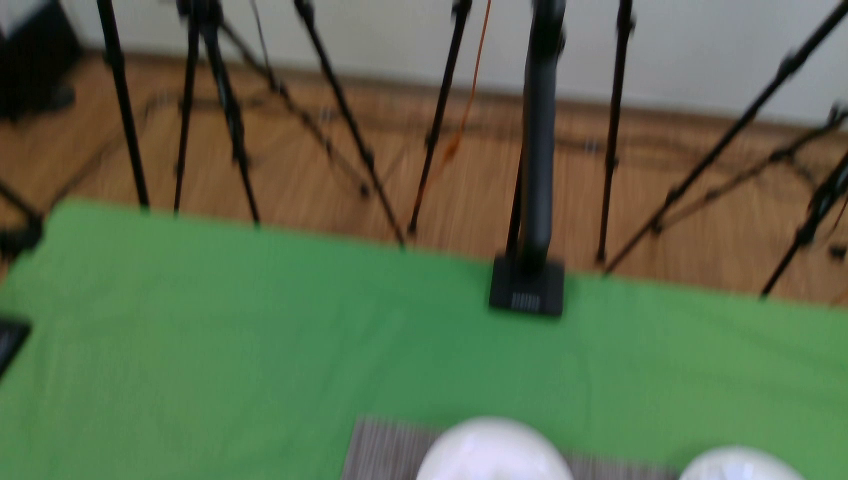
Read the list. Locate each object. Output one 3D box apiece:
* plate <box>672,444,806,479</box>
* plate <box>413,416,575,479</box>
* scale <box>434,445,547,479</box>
[{"bbox_3d":[0.411,0.366,0.769,0.208,0.039,0.205,0,51,0],"label":"plate"},{"bbox_3d":[0.088,0.325,0.756,0.209,0.038,0.207,1,52,0],"label":"plate"},{"bbox_3d":[0.078,0.367,0.765,0.148,0.032,0.199,8,52,6],"label":"scale"}]
